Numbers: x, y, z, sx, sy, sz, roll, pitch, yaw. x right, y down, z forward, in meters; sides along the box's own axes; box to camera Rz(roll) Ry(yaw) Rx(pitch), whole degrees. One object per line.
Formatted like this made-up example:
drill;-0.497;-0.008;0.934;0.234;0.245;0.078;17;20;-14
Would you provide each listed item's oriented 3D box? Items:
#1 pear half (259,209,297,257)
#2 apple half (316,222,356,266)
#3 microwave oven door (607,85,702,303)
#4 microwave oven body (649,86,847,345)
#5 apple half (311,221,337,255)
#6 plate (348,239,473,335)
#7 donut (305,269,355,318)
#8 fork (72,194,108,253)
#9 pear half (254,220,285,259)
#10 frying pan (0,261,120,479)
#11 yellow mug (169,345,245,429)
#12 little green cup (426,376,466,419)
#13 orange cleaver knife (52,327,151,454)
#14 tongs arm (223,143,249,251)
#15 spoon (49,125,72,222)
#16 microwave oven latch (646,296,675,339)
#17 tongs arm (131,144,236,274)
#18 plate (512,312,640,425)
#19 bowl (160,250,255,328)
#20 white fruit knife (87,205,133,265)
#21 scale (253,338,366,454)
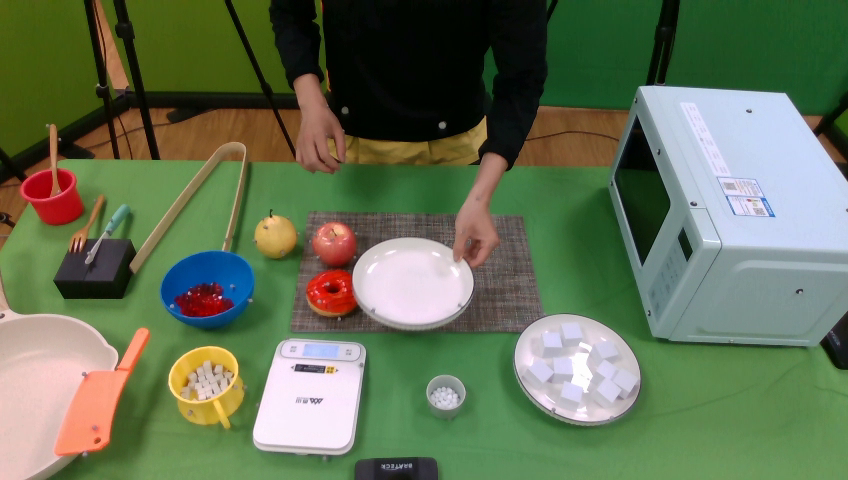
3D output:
pear half;-0.273;-0.024;1.141;0.076;0.110;0.056;27;50;16
apple half;-0.157;0.015;1.132;0.053;0.075;0.080;28;47;18
microwave oven door;0.423;-0.094;1.140;0.039;0.245;0.353;2;46;-1
microwave oven body;0.567;-0.053;1.118;0.326;0.261;0.439;2;45;-1
apple half;-0.190;-0.001;1.143;0.032;0.081;0.081;28;51;19
plate;-0.023;0.080;1.017;0.209;0.038;0.208;3;43;-3
donut;-0.160;0.094;1.075;0.099;0.048;0.098;4;45;-3
fork;-0.634;-0.036;1.158;0.028;0.019;0.206;-7;31;-9
pear half;-0.293;0.003;1.127;0.070;0.088;0.031;25;49;16
frying pan;-0.647;0.164;0.936;0.307;0.103;0.485;-19;58;-22
yellow mug;-0.322;0.230;0.922;0.100;0.064;0.130;-24;53;-25
little green cup;0.033;0.248;0.950;0.061;0.039;0.061;2;46;-2
orange cleaver knife;-0.462;0.212;0.879;0.077;0.012;0.210;7;45;-2
tongs arm;-0.397;-0.073;1.232;0.051;0.027;0.382;-2;45;0
spoon;-0.718;-0.131;1.189;0.041;0.021;0.193;-4;90;-7
microwave oven latch;0.412;0.134;1.061;0.030;0.029;0.078;4;45;1
tongs arm;-0.483;-0.077;1.235;0.028;0.028;0.385;6;45;13
plate;0.246;0.213;0.999;0.208;0.039;0.206;2;46;-2
bowl;-0.362;0.098;1.040;0.151;0.077;0.150;2;45;-2
white fruit knife;-0.584;-0.013;1.129;0.016;0.027;0.206;-1;32;-4
scale;-0.175;0.236;0.951;0.149;0.032;0.199;5;46;-1
